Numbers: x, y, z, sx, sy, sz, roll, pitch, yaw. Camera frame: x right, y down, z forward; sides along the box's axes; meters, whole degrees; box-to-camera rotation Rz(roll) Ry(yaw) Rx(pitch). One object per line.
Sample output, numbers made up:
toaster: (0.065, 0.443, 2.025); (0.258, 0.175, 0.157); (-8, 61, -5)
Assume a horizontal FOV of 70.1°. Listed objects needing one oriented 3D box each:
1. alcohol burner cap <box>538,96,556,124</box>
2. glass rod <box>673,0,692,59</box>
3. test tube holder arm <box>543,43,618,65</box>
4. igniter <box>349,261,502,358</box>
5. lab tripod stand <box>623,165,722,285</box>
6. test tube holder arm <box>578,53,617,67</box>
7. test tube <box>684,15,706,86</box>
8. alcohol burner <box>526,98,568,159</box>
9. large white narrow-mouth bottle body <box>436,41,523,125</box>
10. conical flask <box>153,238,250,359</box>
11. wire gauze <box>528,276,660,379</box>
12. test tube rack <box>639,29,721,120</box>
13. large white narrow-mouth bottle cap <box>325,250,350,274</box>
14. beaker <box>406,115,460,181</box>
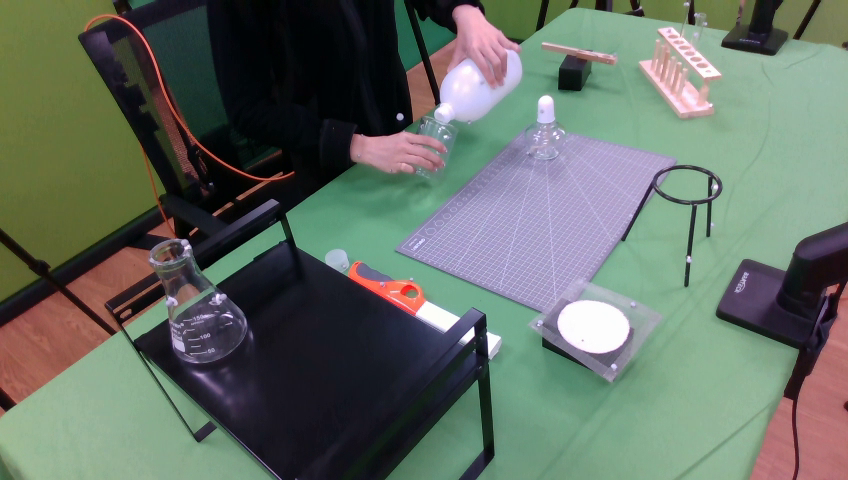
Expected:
alcohol burner cap: (0.222, -0.237, 1.095); (0.034, 0.048, 0.033); (-7, 34, 5)
glass rod: (0.537, -0.437, 1.257); (0.008, 0.200, 0.008); (0, 39, 1)
test tube holder arm: (0.344, -0.413, 1.340); (0.177, 0.015, 0.013); (25, 51, 31)
igniter: (-0.009, 0.094, 0.870); (0.274, 0.025, 0.057); (25, 60, 33)
lab tripod stand: (0.365, -0.030, 0.874); (0.148, 0.132, 0.147); (-6, 41, 6)
test tube holder arm: (0.376, -0.393, 1.314); (0.087, 0.015, 0.010); (26, 51, 32)
test tube: (0.541, -0.378, 1.215); (0.017, 0.151, 0.017); (-2, 44, 3)
alcohol burner: (0.228, -0.210, 1.118); (0.078, 0.119, 0.077); (-5, 43, 5)
large white narrow-mouth bottle body: (0.093, -0.278, 1.118); (0.101, 0.102, 0.195); (27, 59, 34)
conical flask: (-0.225, 0.055, 0.597); (0.075, 0.122, 0.075); (-5, 41, 5)
wire gauze: (0.213, 0.103, 0.763); (0.124, 0.011, 0.122); (30, 52, 35)
test tube rack: (0.527, -0.351, 1.262); (0.067, 0.085, 0.241); (-8, 40, 1)
large white narrow-mouth bottle cap: (-0.138, 0.035, 0.966); (0.038, 0.024, 0.037); (-4, 41, 4)
beaker: (0.016, -0.162, 1.084); (0.073, 0.100, 0.085); (24, 6, 37)
